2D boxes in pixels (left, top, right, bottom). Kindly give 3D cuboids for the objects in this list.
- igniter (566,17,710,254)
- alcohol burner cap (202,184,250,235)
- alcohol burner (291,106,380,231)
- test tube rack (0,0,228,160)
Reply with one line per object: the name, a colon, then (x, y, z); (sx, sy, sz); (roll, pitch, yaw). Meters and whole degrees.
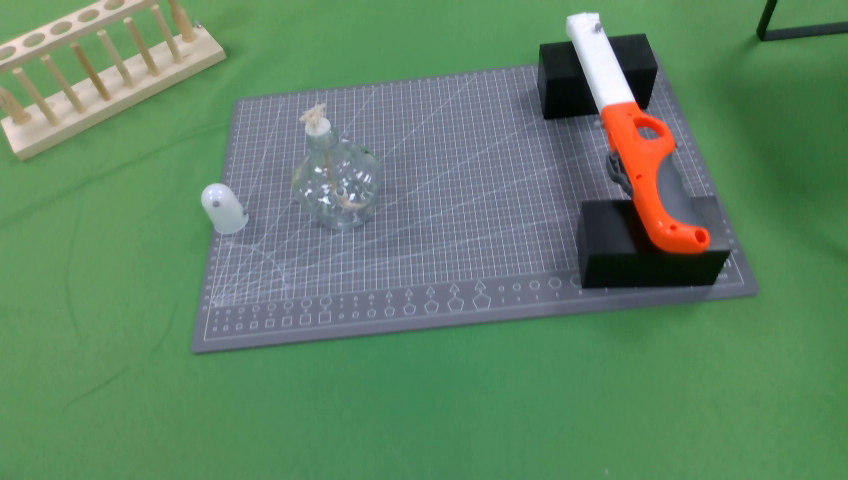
igniter: (0.167, -0.099, 0.502); (0.057, 0.025, 0.273); (-9, 53, 2)
alcohol burner cap: (-0.179, -0.030, 0.543); (0.034, 0.048, 0.033); (-3, 56, 5)
alcohol burner: (-0.078, -0.063, 0.510); (0.078, 0.120, 0.077); (-3, 53, 5)
test tube rack: (-0.347, -0.191, 0.650); (0.242, 0.086, 0.066); (-33, 58, -16)
